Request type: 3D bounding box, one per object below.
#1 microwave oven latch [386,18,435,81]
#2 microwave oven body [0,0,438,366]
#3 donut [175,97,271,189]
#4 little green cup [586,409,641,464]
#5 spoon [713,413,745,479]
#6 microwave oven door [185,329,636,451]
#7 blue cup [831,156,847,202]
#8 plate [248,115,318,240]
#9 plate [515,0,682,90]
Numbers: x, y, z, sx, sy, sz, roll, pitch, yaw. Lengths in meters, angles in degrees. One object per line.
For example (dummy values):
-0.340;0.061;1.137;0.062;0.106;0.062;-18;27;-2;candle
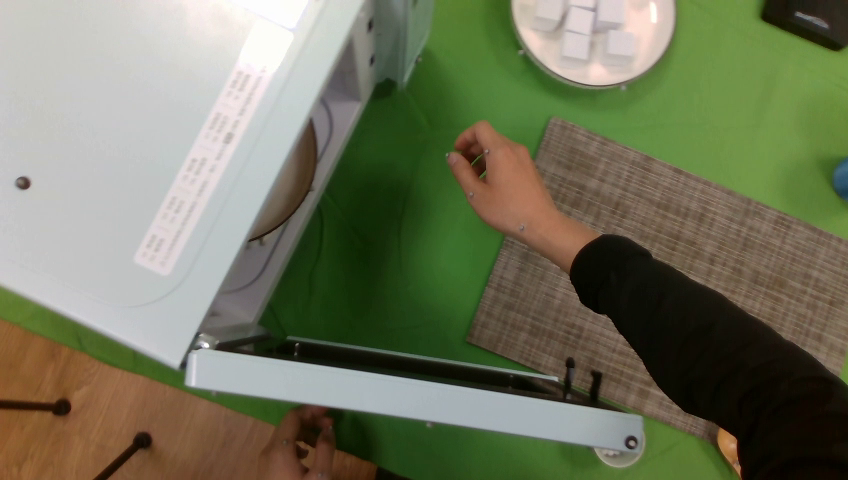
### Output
-0.016;-0.230;0.717;0.030;0.029;0.079;30;84;-1;microwave oven latch
-0.219;-0.146;0.597;0.326;0.260;0.441;26;84;-2;microwave oven body
-0.210;-0.101;0.635;0.099;0.048;0.099;0;86;1;donut
0.217;0.227;0.710;0.061;0.039;0.061;1;82;-4;little green cup
0.379;0.300;0.721;0.042;0.021;0.193;-13;87;-22;spoon
-0.013;0.135;0.581;0.356;0.244;0.039;9;83;-3;microwave oven door
0.557;-0.080;0.733;0.093;0.100;0.092;0;86;-4;blue cup
-0.216;-0.097;0.645;0.209;0.038;0.208;1;84;-4;plate
0.214;-0.285;0.758;0.208;0.039;0.207;0;84;-4;plate
